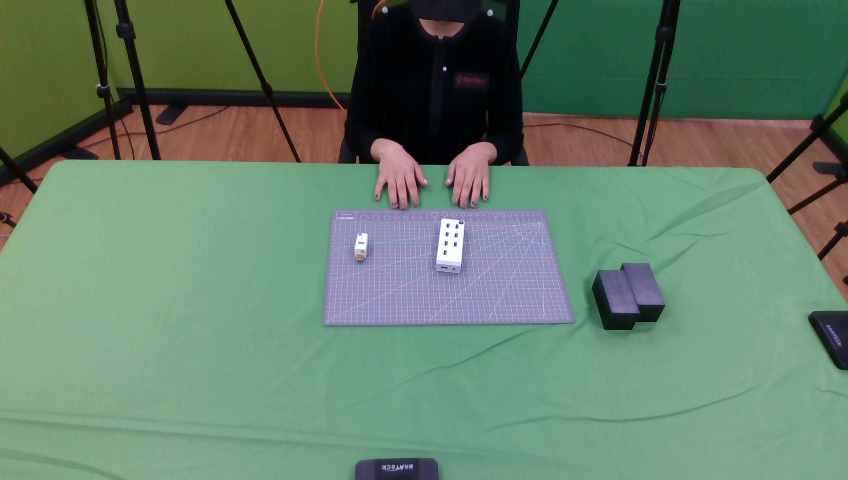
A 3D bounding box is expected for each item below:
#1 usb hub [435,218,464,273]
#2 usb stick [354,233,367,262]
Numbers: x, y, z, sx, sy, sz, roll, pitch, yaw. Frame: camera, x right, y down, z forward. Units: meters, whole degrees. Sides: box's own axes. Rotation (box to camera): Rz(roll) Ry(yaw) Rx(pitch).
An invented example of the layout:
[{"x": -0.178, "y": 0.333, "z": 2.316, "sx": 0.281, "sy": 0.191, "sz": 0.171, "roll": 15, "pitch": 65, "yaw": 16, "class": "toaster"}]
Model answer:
[{"x": 0.052, "y": 0.009, "z": 1.188, "sx": 0.049, "sy": 0.025, "sz": 0.124, "roll": 7, "pitch": 46, "yaw": 2, "class": "usb hub"}, {"x": -0.123, "y": 0.015, "z": 1.168, "sx": 0.021, "sy": 0.027, "sz": 0.059, "roll": 5, "pitch": 49, "yaw": -1, "class": "usb stick"}]
